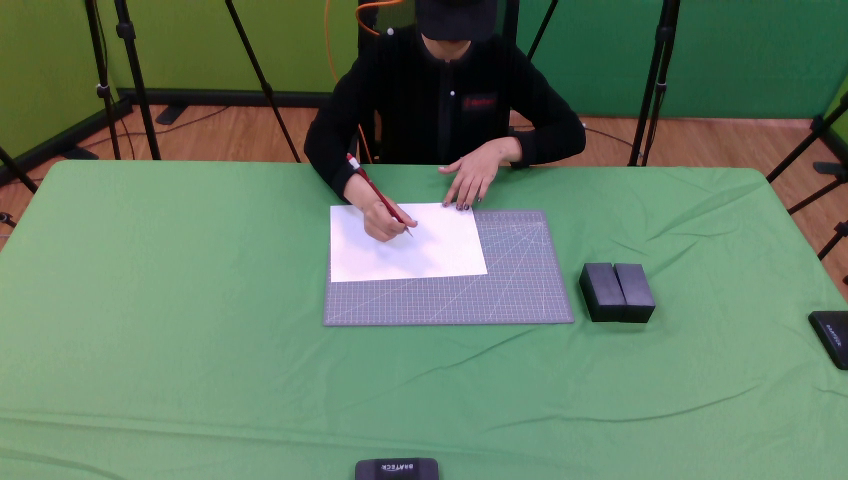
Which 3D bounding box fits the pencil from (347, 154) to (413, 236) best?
[{"bbox_3d":[-0.080,-0.082,1.130,0.194,0.012,0.012,51,53,-11],"label":"pencil"}]
